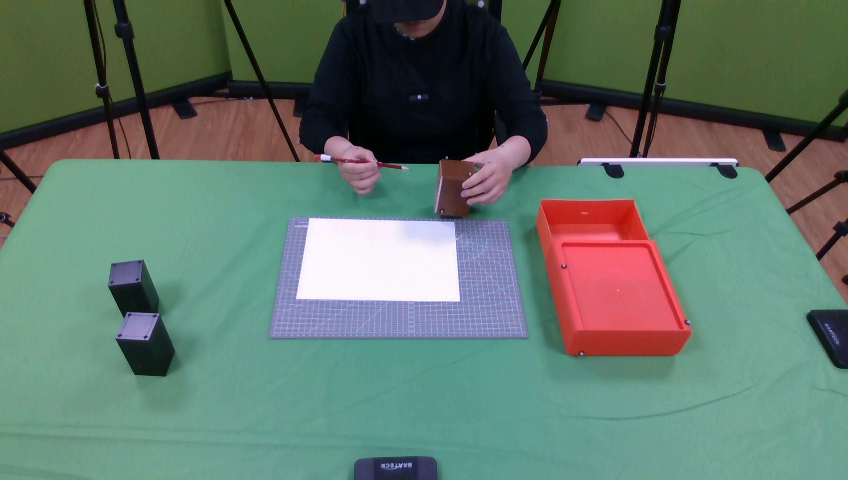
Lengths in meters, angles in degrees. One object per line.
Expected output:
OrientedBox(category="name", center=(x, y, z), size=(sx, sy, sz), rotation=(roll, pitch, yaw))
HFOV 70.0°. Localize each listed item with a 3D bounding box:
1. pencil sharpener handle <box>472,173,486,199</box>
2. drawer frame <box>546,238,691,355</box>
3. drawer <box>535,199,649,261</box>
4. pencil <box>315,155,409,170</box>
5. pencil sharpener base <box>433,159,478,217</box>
OrientedBox(category="pencil sharpener handle", center=(0.114, -0.109, 1.220), size=(0.031, 0.068, 0.036), rotation=(4, 50, -6))
OrientedBox(category="drawer frame", center=(0.338, 0.097, 1.086), size=(0.202, 0.083, 0.212), rotation=(0, 46, -4))
OrientedBox(category="drawer", center=(0.332, 0.015, 1.169), size=(0.195, 0.073, 0.210), rotation=(0, 46, -5))
OrientedBox(category="pencil", center=(-0.126, -0.156, 1.228), size=(0.194, 0.012, 0.012), rotation=(8, 45, 3))
OrientedBox(category="pencil sharpener base", center=(0.062, -0.103, 1.223), size=(0.077, 0.107, 0.061), rotation=(4, 45, -6))
